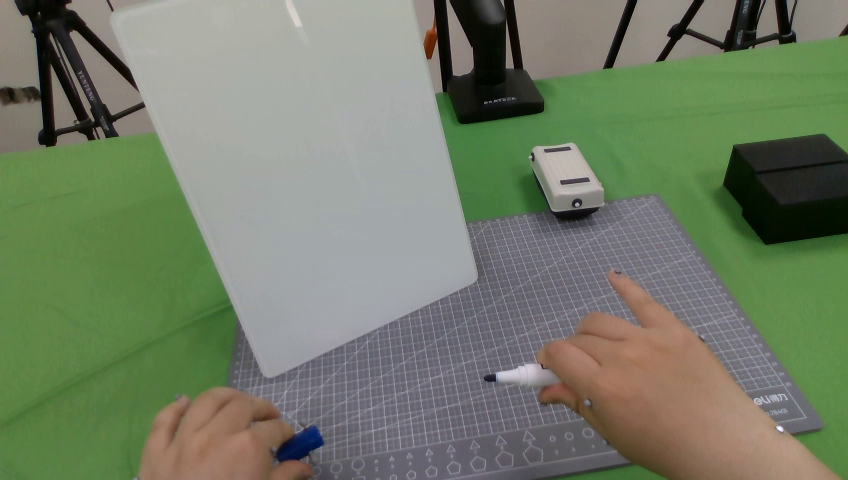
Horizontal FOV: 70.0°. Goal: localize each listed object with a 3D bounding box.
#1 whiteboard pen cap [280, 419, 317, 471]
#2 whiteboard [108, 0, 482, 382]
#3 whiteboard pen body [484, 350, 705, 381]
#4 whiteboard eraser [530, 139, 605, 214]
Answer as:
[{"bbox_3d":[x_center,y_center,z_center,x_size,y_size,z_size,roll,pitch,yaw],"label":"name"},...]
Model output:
[{"bbox_3d":[-0.086,0.140,0.412,0.018,0.018,0.033,5,54,13],"label":"whiteboard pen cap"},{"bbox_3d":[-0.103,-0.073,0.545,0.217,0.307,0.142,-23,24,-18],"label":"whiteboard"},{"bbox_3d":[0.109,0.082,0.392,0.141,0.017,0.017,-2,41,2],"label":"whiteboard pen body"},{"bbox_3d":[0.156,-0.071,0.667,0.055,0.042,0.111,-9,37,0],"label":"whiteboard eraser"}]
